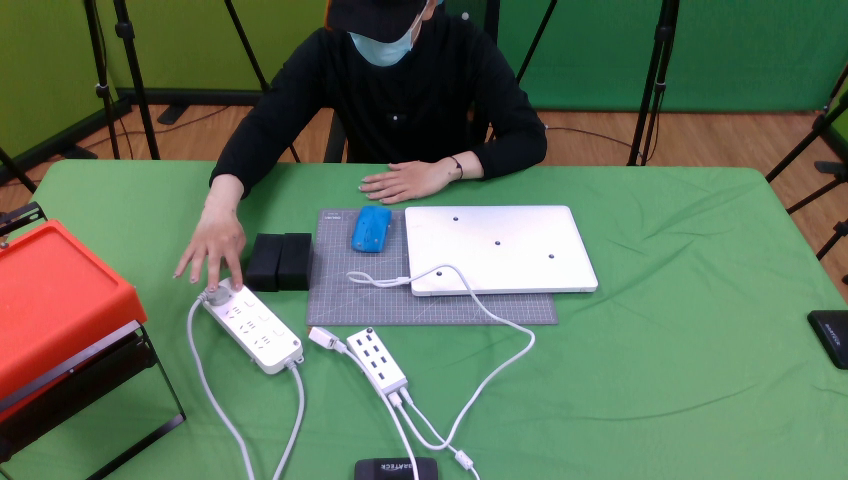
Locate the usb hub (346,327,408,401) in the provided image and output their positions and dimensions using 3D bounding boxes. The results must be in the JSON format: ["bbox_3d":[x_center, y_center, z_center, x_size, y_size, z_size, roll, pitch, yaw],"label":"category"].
[{"bbox_3d":[-0.078,0.202,0.998,0.049,0.025,0.124,-23,53,-24],"label":"usb hub"}]

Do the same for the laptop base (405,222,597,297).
[{"bbox_3d":[0.143,0.018,1.196,0.355,0.023,0.234,-1,43,-6],"label":"laptop base"}]

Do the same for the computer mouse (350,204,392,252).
[{"bbox_3d":[-0.104,-0.027,1.202,0.063,0.041,0.116,11,51,4],"label":"computer mouse"}]

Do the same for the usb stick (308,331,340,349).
[{"bbox_3d":[-0.173,0.167,1.022,0.059,0.021,0.027,9,0,25],"label":"usb stick"}]

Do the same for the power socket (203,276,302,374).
[{"bbox_3d":[-0.296,0.141,1.034,0.072,0.033,0.225,-34,57,-31],"label":"power socket"}]

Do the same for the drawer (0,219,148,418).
[{"bbox_3d":[-0.509,0.093,0.783,0.193,0.073,0.211,32,53,24],"label":"drawer"}]

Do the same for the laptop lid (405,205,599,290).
[{"bbox_3d":[0.143,0.008,1.189,0.357,0.013,0.240,0,44,-5],"label":"laptop lid"}]

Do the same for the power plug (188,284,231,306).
[{"bbox_3d":[-0.368,0.100,1.038,0.072,0.053,0.035,-23,52,-25],"label":"power plug"}]

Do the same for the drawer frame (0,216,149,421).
[{"bbox_3d":[-0.510,0.093,0.780,0.201,0.083,0.213,31,52,23],"label":"drawer frame"}]
